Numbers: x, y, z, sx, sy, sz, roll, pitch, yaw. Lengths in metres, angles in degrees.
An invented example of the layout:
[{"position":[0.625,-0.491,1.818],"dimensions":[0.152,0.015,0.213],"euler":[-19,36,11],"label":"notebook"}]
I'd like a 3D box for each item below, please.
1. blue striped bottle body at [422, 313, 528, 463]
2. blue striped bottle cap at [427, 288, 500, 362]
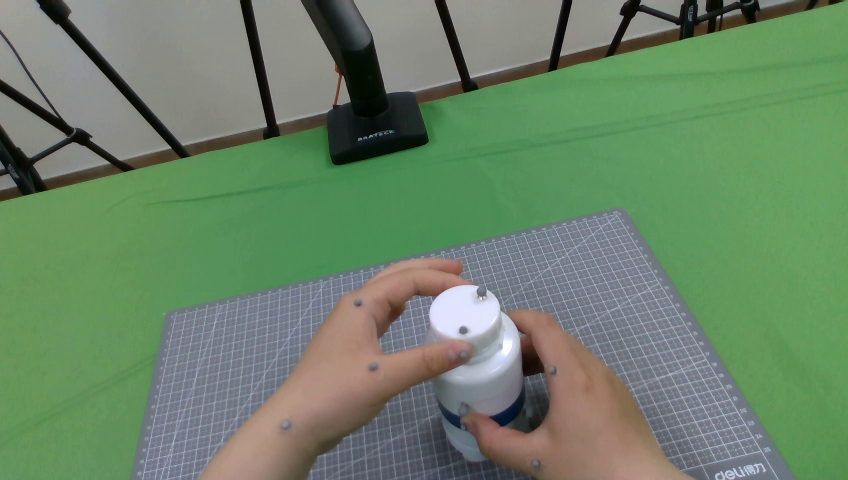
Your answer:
[{"position":[0.035,0.091,0.402],"dimensions":[0.063,0.122,0.062],"euler":[-7,42,7],"label":"blue striped bottle body"},{"position":[0.024,0.050,0.365],"dimensions":[0.044,0.021,0.044],"euler":[-3,41,3],"label":"blue striped bottle cap"}]
